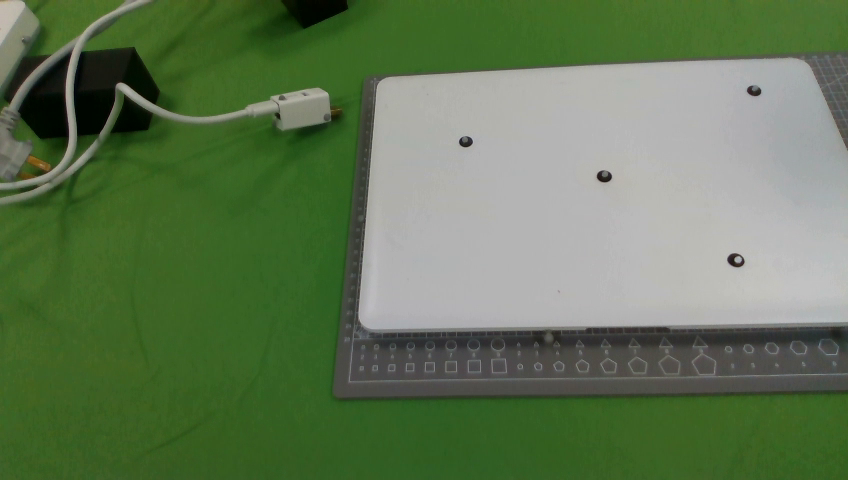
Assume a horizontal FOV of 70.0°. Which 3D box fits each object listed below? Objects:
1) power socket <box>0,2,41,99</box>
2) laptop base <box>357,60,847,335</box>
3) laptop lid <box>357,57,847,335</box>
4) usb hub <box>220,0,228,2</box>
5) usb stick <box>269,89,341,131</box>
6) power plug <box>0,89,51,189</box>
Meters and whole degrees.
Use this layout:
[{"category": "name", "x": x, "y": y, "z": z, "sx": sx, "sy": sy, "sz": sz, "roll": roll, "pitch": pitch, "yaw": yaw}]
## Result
[{"category": "power socket", "x": -0.436, "y": -0.146, "z": 0.567, "sx": 0.072, "sy": 0.033, "sz": 0.224, "roll": 2, "pitch": 57, "yaw": 5}, {"category": "laptop base", "x": 0.132, "y": -0.039, "z": 0.454, "sx": 0.354, "sy": 0.023, "sz": 0.233, "roll": -2, "pitch": 61, "yaw": 4}, {"category": "laptop lid", "x": 0.131, "y": -0.043, "z": 0.443, "sx": 0.356, "sy": 0.013, "sz": 0.239, "roll": 0, "pitch": 59, "yaw": 5}, {"category": "usb hub", "x": -0.145, "y": -0.266, "z": 0.563, "sx": 0.125, "sy": 0.025, "sz": 0.049, "roll": -33, "pitch": 62, "yaw": -14}, {"category": "usb stick", "x": -0.098, "y": -0.111, "z": 0.512, "sx": 0.059, "sy": 0.027, "sz": 0.021, "roll": -17, "pitch": 32, "yaw": -31}, {"category": "power plug", "x": -0.324, "y": -0.078, "z": 0.495, "sx": 0.072, "sy": 0.053, "sz": 0.035, "roll": -55, "pitch": 34, "yaw": 5}]
